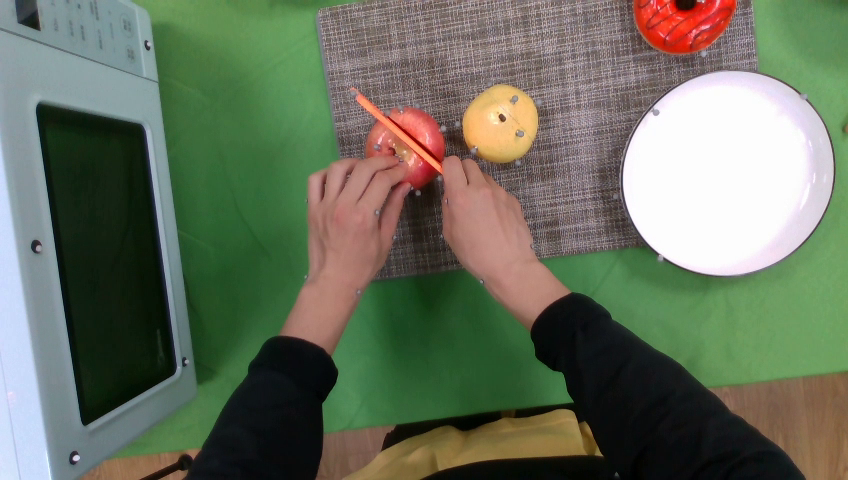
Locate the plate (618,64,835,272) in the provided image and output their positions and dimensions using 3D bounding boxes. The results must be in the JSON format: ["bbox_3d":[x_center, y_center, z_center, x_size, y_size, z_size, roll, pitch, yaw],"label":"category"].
[{"bbox_3d":[0.304,-0.071,0.622,0.209,0.038,0.209,0,96,5],"label":"plate"}]

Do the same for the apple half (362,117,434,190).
[{"bbox_3d":[-0.034,-0.083,0.632,0.081,0.074,0.053,44,98,-4],"label":"apple half"}]

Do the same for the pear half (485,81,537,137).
[{"bbox_3d":[0.092,-0.137,0.608,0.070,0.088,0.031,42,98,6],"label":"pear half"}]

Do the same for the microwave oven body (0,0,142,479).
[{"bbox_3d":[-0.450,-0.018,0.583,0.326,0.260,0.442,-5,96,5],"label":"microwave oven body"}]

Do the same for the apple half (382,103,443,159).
[{"bbox_3d":[-0.005,-0.118,0.628,0.081,0.081,0.033,38,92,1],"label":"apple half"}]

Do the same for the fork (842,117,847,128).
[{"bbox_3d":[0.506,-0.170,0.573,0.207,0.018,0.028,-36,99,28],"label":"fork"}]

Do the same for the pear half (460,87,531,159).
[{"bbox_3d":[0.067,-0.111,0.603,0.076,0.110,0.056,42,97,5],"label":"pear half"}]

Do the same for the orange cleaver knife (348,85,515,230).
[{"bbox_3d":[0.008,-0.083,0.606,0.212,0.076,0.012,39,98,-15],"label":"orange cleaver knife"}]

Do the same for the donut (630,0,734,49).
[{"bbox_3d":[0.257,-0.241,0.606,0.099,0.048,0.099,1,97,8],"label":"donut"}]

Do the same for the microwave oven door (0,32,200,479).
[{"bbox_3d":[-0.302,0.012,0.567,0.039,0.243,0.356,-6,95,6],"label":"microwave oven door"}]

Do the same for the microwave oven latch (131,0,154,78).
[{"bbox_3d":[-0.311,-0.215,0.647,0.030,0.029,0.079,-4,96,5],"label":"microwave oven latch"}]
